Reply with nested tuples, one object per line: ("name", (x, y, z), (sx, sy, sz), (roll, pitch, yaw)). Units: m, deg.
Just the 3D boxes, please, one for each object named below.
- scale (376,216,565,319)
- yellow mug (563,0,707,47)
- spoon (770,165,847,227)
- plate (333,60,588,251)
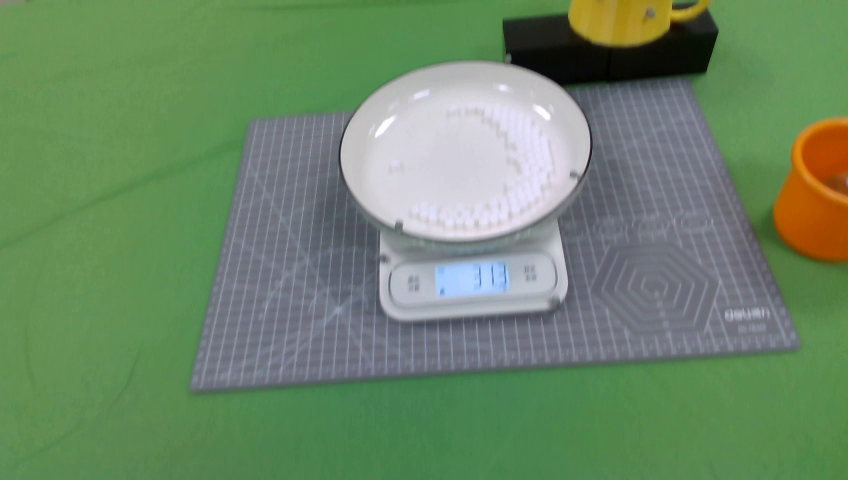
("scale", (0.033, -0.029, 0.517), (0.148, 0.032, 0.199), (-5, 54, 4))
("yellow mug", (0.200, -0.238, 0.573), (0.130, 0.064, 0.099), (13, 57, 15))
("spoon", (0.348, -0.069, 0.440), (0.022, 0.194, 0.041), (23, 42, -31))
("plate", (0.029, -0.072, 0.508), (0.209, 0.038, 0.207), (-2, 54, 4))
